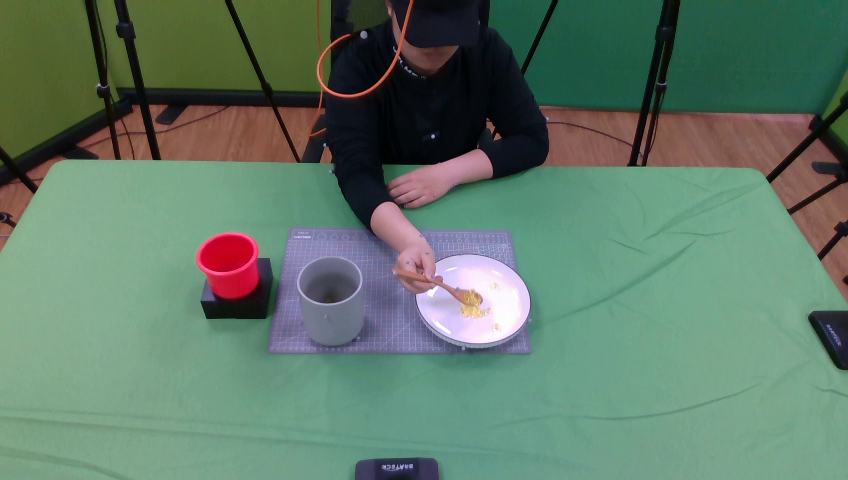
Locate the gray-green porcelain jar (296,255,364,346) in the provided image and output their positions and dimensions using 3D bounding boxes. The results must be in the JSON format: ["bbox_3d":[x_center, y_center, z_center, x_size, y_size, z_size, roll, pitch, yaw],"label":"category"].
[{"bbox_3d":[-0.153,0.106,1.008,0.106,0.127,0.105,2,46,-2],"label":"gray-green porcelain jar"}]

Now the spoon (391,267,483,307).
[{"bbox_3d":[0.025,0.075,1.010,0.195,0.021,0.041,26,28,-34],"label":"spoon"}]

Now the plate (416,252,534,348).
[{"bbox_3d":[0.090,0.109,1.084,0.208,0.039,0.206,2,46,-2],"label":"plate"}]
